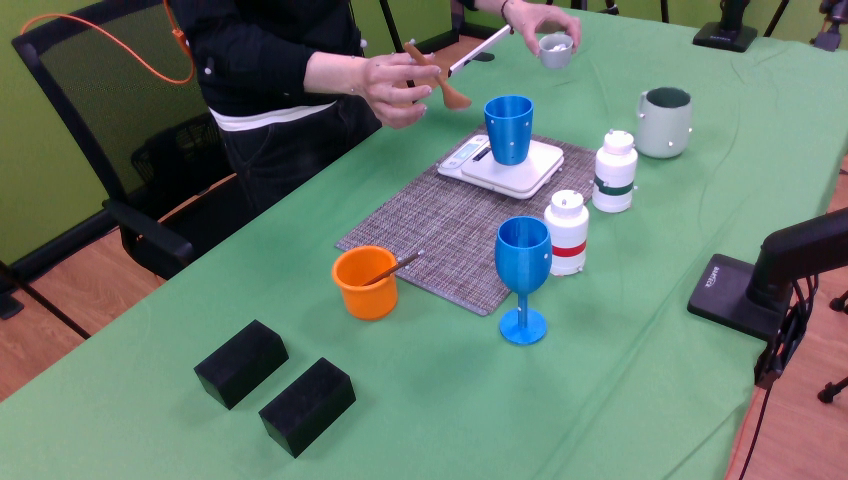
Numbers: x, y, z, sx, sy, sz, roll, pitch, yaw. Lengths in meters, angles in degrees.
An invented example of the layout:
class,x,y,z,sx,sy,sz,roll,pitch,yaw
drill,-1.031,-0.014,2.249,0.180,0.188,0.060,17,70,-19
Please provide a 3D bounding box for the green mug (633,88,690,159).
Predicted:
class,x,y,z,sx,sy,sz,roll,pitch,yaw
green mug,0.423,-0.217,1.099,0.093,0.105,0.124,-16,41,-10

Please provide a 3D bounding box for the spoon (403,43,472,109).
class,x,y,z,sx,sy,sz,roll,pitch,yaw
spoon,0.018,-0.234,0.875,0.041,0.195,0.021,-9,69,27

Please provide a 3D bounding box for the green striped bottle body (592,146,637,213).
class,x,y,z,sx,sy,sz,roll,pitch,yaw
green striped bottle body,0.307,-0.108,0.976,0.063,0.120,0.063,-4,41,4

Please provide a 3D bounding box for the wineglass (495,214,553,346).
class,x,y,z,sx,sy,sz,roll,pitch,yaw
wineglass,0.127,0.054,0.770,0.074,0.173,0.073,-4,40,4

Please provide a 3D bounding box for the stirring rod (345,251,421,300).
class,x,y,z,sx,sy,sz,roll,pitch,yaw
stirring rod,-0.060,0.051,0.829,0.175,0.006,0.014,-32,17,44

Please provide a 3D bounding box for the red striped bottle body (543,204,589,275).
class,x,y,z,sx,sy,sz,roll,pitch,yaw
red striped bottle body,0.206,-0.011,0.877,0.063,0.120,0.062,-5,41,4

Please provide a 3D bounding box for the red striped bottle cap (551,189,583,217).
class,x,y,z,sx,sy,sz,roll,pitch,yaw
red striped bottle cap,0.199,-0.052,0.843,0.044,0.018,0.044,-2,42,2

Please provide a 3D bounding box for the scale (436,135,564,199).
class,x,y,z,sx,sy,sz,roll,pitch,yaw
scale,0.137,-0.142,1.101,0.199,0.032,0.149,22,48,30

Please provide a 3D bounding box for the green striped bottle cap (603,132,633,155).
class,x,y,z,sx,sy,sz,roll,pitch,yaw
green striped bottle cap,0.302,-0.149,0.939,0.044,0.020,0.044,-3,40,3

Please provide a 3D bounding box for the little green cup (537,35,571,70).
class,x,y,z,sx,sy,sz,roll,pitch,yaw
little green cup,0.238,-0.341,1.105,0.061,0.039,0.061,-5,47,5

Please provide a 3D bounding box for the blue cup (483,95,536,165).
class,x,y,z,sx,sy,sz,roll,pitch,yaw
blue cup,0.148,-0.188,1.053,0.092,0.100,0.092,-6,39,5
